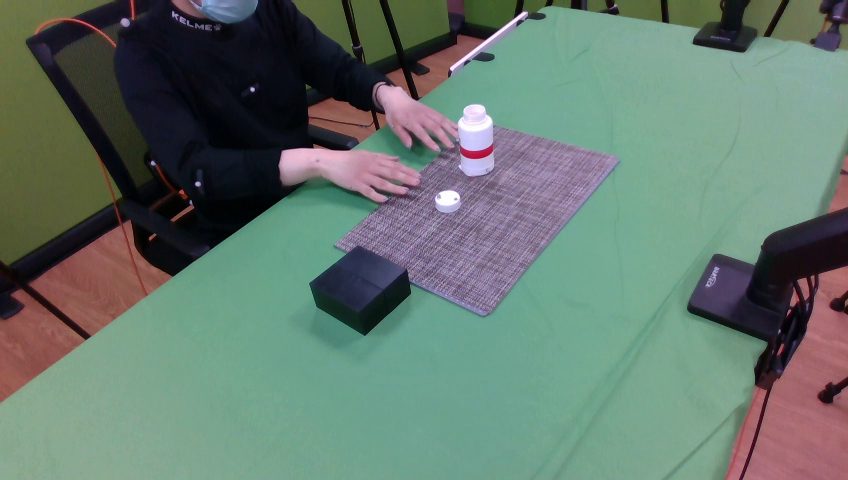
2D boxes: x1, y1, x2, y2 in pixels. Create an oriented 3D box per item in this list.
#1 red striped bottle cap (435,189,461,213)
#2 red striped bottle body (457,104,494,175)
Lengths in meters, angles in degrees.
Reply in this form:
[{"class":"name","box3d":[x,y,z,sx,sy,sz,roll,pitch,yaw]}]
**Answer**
[{"class":"red striped bottle cap","box3d":[0.041,-0.068,1.040,0.044,0.018,0.044,-5,46,6]},{"class":"red striped bottle body","box3d":[0.093,-0.182,1.085,0.063,0.120,0.062,-4,41,4]}]
